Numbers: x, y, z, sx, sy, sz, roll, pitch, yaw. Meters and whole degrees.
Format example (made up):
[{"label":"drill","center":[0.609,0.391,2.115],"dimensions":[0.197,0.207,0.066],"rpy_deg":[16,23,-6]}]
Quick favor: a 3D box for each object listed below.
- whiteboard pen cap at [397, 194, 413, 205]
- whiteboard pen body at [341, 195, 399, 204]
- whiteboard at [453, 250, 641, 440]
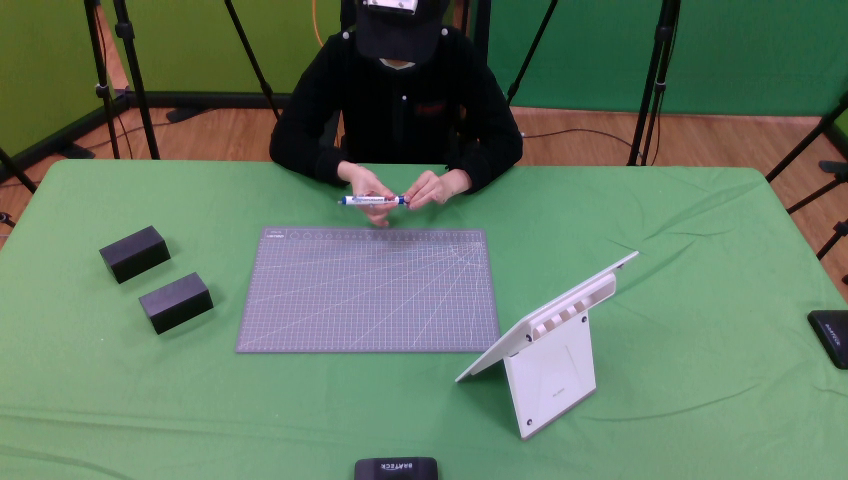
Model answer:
[{"label":"whiteboard pen cap","center":[-0.039,-0.079,1.182],"dimensions":[0.033,0.018,0.018],"rpy_deg":[12,41,-29]},{"label":"whiteboard pen body","center":[-0.091,-0.078,1.158],"dimensions":[0.141,0.017,0.017],"rpy_deg":[-2,45,-26]},{"label":"whiteboard","center":[0.206,0.175,0.890],"dimensions":[0.217,0.306,0.143],"rpy_deg":[-25,72,-25]}]
